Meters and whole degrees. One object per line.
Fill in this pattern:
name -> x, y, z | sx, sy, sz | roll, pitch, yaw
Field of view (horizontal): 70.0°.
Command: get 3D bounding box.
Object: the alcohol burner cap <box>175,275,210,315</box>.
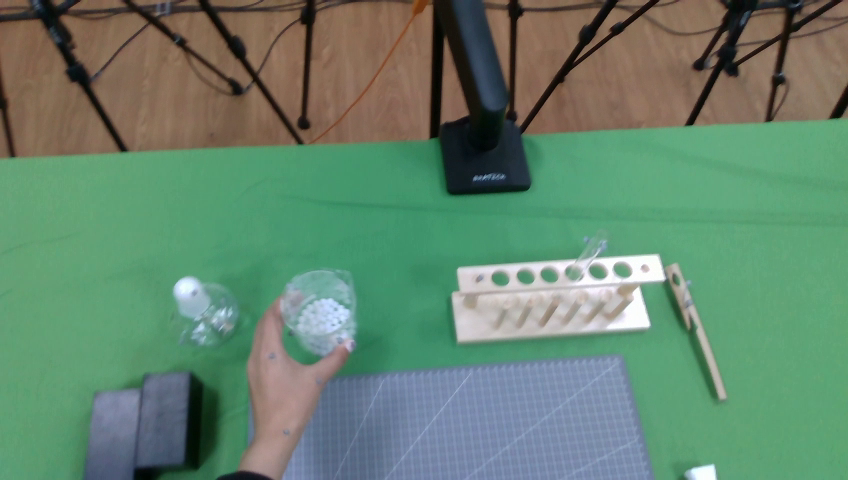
alcohol burner cap -> -0.254, 0.056, 0.661 | 0.034, 0.048, 0.033 | 4, 56, -6

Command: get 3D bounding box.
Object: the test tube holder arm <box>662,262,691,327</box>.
test tube holder arm -> 0.330, 0.070, 0.785 | 0.010, 0.015, 0.087 | -26, 62, 25

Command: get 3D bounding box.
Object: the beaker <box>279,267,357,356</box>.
beaker -> -0.107, 0.079, 0.647 | 0.073, 0.101, 0.084 | 38, 69, 12

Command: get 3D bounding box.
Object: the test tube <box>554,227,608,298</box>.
test tube -> 0.178, 0.030, 0.702 | 0.017, 0.151, 0.017 | 4, 59, -6

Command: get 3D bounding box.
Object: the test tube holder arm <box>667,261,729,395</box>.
test tube holder arm -> 0.344, 0.108, 0.763 | 0.013, 0.015, 0.177 | -27, 62, 24

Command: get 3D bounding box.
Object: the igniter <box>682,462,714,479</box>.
igniter -> 0.328, 0.374, 0.623 | 0.057, 0.025, 0.274 | -2, 62, -16

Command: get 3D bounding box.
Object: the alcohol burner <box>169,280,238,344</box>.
alcohol burner -> -0.256, 0.075, 0.692 | 0.078, 0.120, 0.077 | 1, 61, -1

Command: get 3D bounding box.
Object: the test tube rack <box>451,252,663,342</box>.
test tube rack -> 0.159, 0.070, 0.736 | 0.243, 0.086, 0.066 | -4, 63, -5
